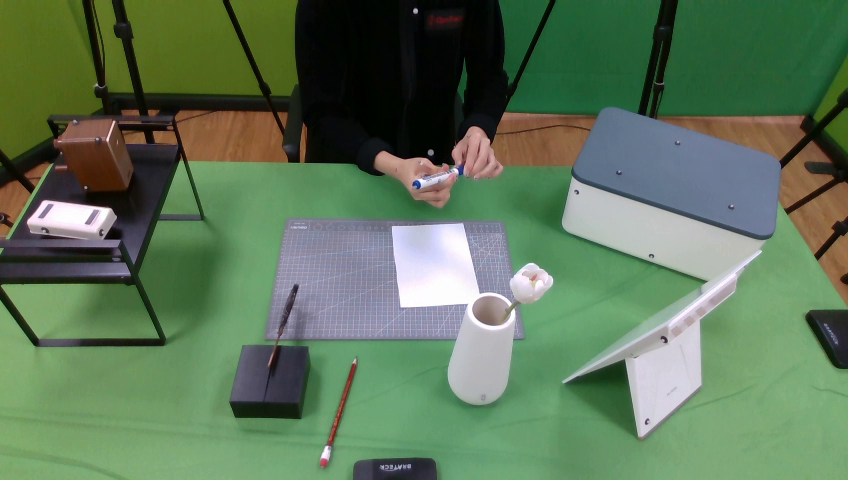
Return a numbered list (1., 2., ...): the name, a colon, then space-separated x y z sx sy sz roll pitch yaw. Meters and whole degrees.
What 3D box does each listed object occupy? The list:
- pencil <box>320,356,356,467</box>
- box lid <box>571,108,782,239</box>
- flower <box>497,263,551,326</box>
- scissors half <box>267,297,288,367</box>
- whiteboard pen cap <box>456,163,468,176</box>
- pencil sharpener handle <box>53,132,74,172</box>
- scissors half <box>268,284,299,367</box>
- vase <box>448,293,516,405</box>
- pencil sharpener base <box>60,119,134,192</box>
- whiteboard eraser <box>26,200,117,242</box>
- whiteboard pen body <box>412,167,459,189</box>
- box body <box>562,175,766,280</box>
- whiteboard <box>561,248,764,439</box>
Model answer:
1. pencil: -0.130 0.261 0.946 0.012 0.012 0.193 10 45 5
2. box lid: 0.491 -0.139 1.168 0.370 0.015 0.262 20 49 15
3. flower: 0.103 0.121 0.853 0.044 0.363 0.038 -1 64 -9
4. scissors half: -0.239 0.150 0.997 0.013 0.040 0.174 24 24 -13
5. whiteboard pen cap: 0.062 -0.123 1.063 0.018 0.018 0.033 35 38 25
6. pencil sharpener handle: -0.578 -0.138 0.961 0.031 0.068 0.036 -4 34 -7
7. scissors half: -0.230 0.135 0.986 0.013 0.040 0.174 19 43 -10
8. vase: 0.091 0.169 0.921 0.098 0.201 0.097 3 47 -3
9. pencil sharpener base: -0.528 -0.135 0.979 0.077 0.107 0.061 -4 47 -7
10. whiteboard eraser: -0.532 -0.026 0.919 0.113 0.042 0.055 7 45 3
11. whiteboard pen body: 0.027 -0.107 1.018 0.017 0.017 0.141 34 35 25
12. box body: 0.486 -0.088 1.222 0.363 0.161 0.253 20 48 15
13. whiteboard: 0.386 0.176 0.905 0.217 0.306 0.143 -26 72 -27
